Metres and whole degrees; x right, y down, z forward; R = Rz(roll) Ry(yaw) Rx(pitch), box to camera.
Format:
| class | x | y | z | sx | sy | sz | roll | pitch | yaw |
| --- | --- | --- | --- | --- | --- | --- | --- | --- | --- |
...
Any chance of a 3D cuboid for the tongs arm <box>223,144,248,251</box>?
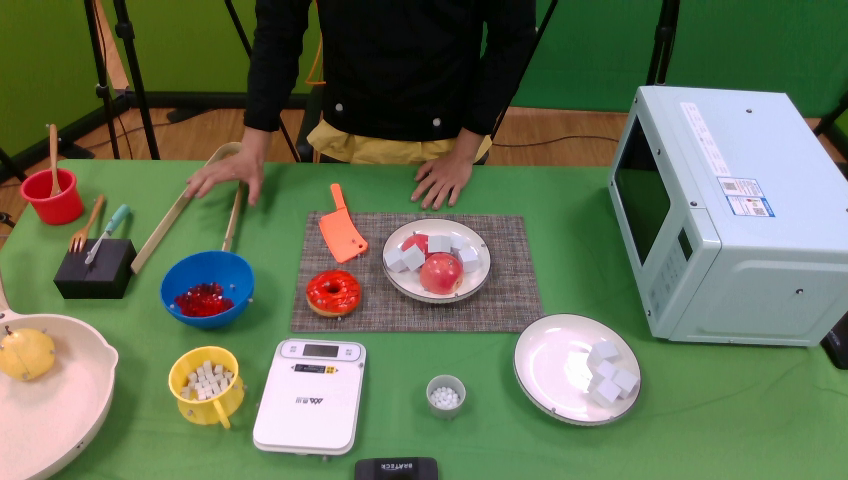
| class | x | y | z | sx | sy | sz | roll | pitch | yaw |
| --- | --- | --- | --- | --- | --- | --- | --- | --- | --- |
| tongs arm | -0.398 | -0.072 | 1.232 | 0.051 | 0.027 | 0.382 | -3 | 45 | 0 |

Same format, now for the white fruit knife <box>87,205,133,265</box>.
| class | x | y | z | sx | sy | sz | roll | pitch | yaw |
| --- | --- | --- | --- | --- | --- | --- | --- | --- | --- |
| white fruit knife | -0.584 | -0.013 | 1.129 | 0.016 | 0.027 | 0.206 | 0 | 32 | -5 |

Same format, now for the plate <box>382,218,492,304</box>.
| class | x | y | z | sx | sy | sz | roll | pitch | yaw |
| --- | --- | --- | --- | --- | --- | --- | --- | --- | --- |
| plate | 0.023 | 0.042 | 1.143 | 0.209 | 0.038 | 0.208 | 2 | 46 | -2 |

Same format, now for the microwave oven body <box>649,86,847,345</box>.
| class | x | y | z | sx | sy | sz | roll | pitch | yaw |
| --- | --- | --- | --- | --- | --- | --- | --- | --- | --- |
| microwave oven body | 0.567 | -0.053 | 1.118 | 0.326 | 0.261 | 0.439 | 2 | 45 | -1 |

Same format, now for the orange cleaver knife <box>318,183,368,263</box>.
| class | x | y | z | sx | sy | sz | roll | pitch | yaw |
| --- | --- | --- | --- | --- | --- | --- | --- | --- | --- |
| orange cleaver knife | -0.173 | -0.038 | 1.218 | 0.077 | 0.012 | 0.210 | -17 | 51 | -11 |

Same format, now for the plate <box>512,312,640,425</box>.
| class | x | y | z | sx | sy | sz | roll | pitch | yaw |
| --- | --- | --- | --- | --- | --- | --- | --- | --- | --- |
| plate | 0.246 | 0.213 | 0.999 | 0.208 | 0.039 | 0.206 | 2 | 46 | -2 |

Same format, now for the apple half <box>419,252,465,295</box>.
| class | x | y | z | sx | sy | sz | roll | pitch | yaw |
| --- | --- | --- | --- | --- | --- | --- | --- | --- | --- |
| apple half | 0.035 | 0.056 | 1.109 | 0.074 | 0.053 | 0.081 | 37 | 55 | 25 |

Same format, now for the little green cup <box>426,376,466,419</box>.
| class | x | y | z | sx | sy | sz | roll | pitch | yaw |
| --- | --- | --- | --- | --- | --- | --- | --- | --- | --- |
| little green cup | 0.033 | 0.248 | 0.950 | 0.061 | 0.039 | 0.061 | 2 | 46 | -2 |

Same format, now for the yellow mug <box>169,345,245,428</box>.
| class | x | y | z | sx | sy | sz | roll | pitch | yaw |
| --- | --- | --- | --- | --- | --- | --- | --- | --- | --- |
| yellow mug | -0.322 | 0.230 | 0.922 | 0.100 | 0.064 | 0.130 | -24 | 53 | -25 |

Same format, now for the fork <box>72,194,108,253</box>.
| class | x | y | z | sx | sy | sz | roll | pitch | yaw |
| --- | --- | --- | --- | --- | --- | --- | --- | --- | --- |
| fork | -0.634 | -0.036 | 1.158 | 0.028 | 0.019 | 0.206 | -8 | 32 | -8 |

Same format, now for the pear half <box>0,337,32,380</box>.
| class | x | y | z | sx | sy | sz | roll | pitch | yaw |
| --- | --- | --- | --- | --- | --- | --- | --- | --- | --- |
| pear half | -0.631 | 0.184 | 0.921 | 0.070 | 0.088 | 0.031 | 29 | 49 | 19 |

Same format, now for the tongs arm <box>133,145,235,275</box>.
| class | x | y | z | sx | sy | sz | roll | pitch | yaw |
| --- | --- | --- | --- | --- | --- | --- | --- | --- | --- |
| tongs arm | -0.482 | -0.075 | 1.236 | 0.028 | 0.028 | 0.385 | 5 | 45 | 13 |

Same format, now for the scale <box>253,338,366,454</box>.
| class | x | y | z | sx | sy | sz | roll | pitch | yaw |
| --- | --- | --- | --- | --- | --- | --- | --- | --- | --- |
| scale | -0.175 | 0.236 | 0.951 | 0.149 | 0.032 | 0.199 | 4 | 45 | 0 |

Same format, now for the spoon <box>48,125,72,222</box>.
| class | x | y | z | sx | sy | sz | roll | pitch | yaw |
| --- | --- | --- | --- | --- | --- | --- | --- | --- | --- |
| spoon | -0.718 | -0.131 | 1.189 | 0.041 | 0.021 | 0.193 | -4 | 90 | -6 |

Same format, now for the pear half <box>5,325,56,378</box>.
| class | x | y | z | sx | sy | sz | roll | pitch | yaw |
| --- | --- | --- | --- | --- | --- | --- | --- | --- | --- |
| pear half | -0.608 | 0.158 | 0.935 | 0.076 | 0.110 | 0.056 | 31 | 51 | 20 |

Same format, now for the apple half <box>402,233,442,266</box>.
| class | x | y | z | sx | sy | sz | roll | pitch | yaw |
| --- | --- | --- | --- | --- | --- | --- | --- | --- | --- |
| apple half | -0.004 | 0.013 | 1.160 | 0.081 | 0.033 | 0.081 | 5 | 45 | -5 |

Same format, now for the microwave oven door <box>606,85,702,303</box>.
| class | x | y | z | sx | sy | sz | roll | pitch | yaw |
| --- | --- | --- | --- | --- | --- | --- | --- | --- | --- |
| microwave oven door | 0.422 | -0.094 | 1.140 | 0.039 | 0.245 | 0.353 | 2 | 46 | -1 |

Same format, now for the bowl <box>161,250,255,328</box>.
| class | x | y | z | sx | sy | sz | roll | pitch | yaw |
| --- | --- | --- | --- | --- | --- | --- | --- | --- | --- |
| bowl | -0.362 | 0.098 | 1.040 | 0.151 | 0.077 | 0.150 | 2 | 45 | -2 |

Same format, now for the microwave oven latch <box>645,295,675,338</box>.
| class | x | y | z | sx | sy | sz | roll | pitch | yaw |
| --- | --- | --- | --- | --- | --- | --- | --- | --- | --- |
| microwave oven latch | 0.411 | 0.134 | 1.061 | 0.030 | 0.029 | 0.078 | 3 | 45 | 0 |

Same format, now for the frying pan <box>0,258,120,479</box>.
| class | x | y | z | sx | sy | sz | roll | pitch | yaw |
| --- | --- | --- | --- | --- | --- | --- | --- | --- | --- |
| frying pan | -0.647 | 0.164 | 0.936 | 0.307 | 0.103 | 0.485 | -19 | 58 | -22 |

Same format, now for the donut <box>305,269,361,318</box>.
| class | x | y | z | sx | sy | sz | roll | pitch | yaw |
| --- | --- | --- | --- | --- | --- | --- | --- | --- | --- |
| donut | -0.160 | 0.094 | 1.075 | 0.099 | 0.048 | 0.098 | 4 | 45 | -3 |
